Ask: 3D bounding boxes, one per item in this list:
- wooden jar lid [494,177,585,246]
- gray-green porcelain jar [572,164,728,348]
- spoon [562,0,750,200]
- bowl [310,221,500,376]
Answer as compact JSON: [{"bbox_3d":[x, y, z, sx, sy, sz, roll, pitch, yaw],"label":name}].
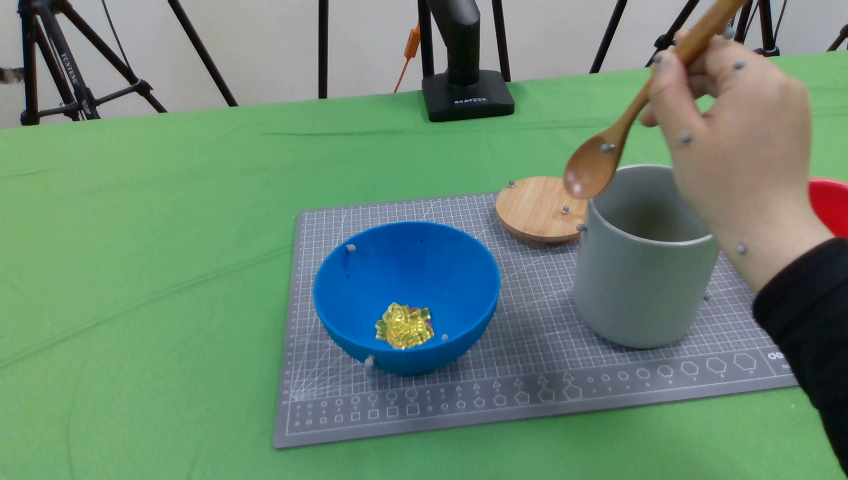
[{"bbox_3d":[0.129,-0.030,0.648,0.108,0.021,0.107,-2,39,2],"label":"wooden jar lid"},{"bbox_3d":[0.180,0.018,0.504,0.106,0.127,0.105,-2,41,2],"label":"gray-green porcelain jar"},{"bbox_3d":[0.134,-0.083,0.374,0.022,0.194,0.041,-4,65,-15],"label":"spoon"},{"bbox_3d":[-0.013,0.060,0.506,0.151,0.077,0.150,-2,41,2],"label":"bowl"}]
